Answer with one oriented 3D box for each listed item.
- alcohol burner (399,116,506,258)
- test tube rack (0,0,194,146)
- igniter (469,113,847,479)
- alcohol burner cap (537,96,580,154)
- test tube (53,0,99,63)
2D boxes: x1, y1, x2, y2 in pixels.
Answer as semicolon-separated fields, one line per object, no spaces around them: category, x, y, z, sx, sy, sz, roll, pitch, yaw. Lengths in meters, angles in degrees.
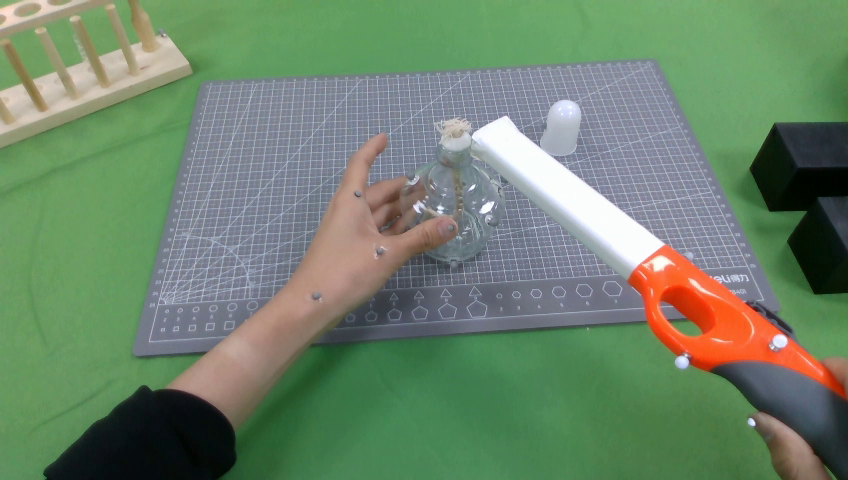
alcohol burner;0.021;-0.041;0.427;0.078;0.120;0.077;1;53;-1
test tube rack;-0.347;-0.159;0.544;0.242;0.086;0.066;-29;57;-21
igniter;0.125;0.019;0.322;0.057;0.025;0.274;-32;62;-25
alcohol burner cap;0.117;-0.101;0.518;0.034;0.048;0.033;1;51;-1
test tube;-0.324;-0.226;0.529;0.017;0.152;0.017;-3;43;4
